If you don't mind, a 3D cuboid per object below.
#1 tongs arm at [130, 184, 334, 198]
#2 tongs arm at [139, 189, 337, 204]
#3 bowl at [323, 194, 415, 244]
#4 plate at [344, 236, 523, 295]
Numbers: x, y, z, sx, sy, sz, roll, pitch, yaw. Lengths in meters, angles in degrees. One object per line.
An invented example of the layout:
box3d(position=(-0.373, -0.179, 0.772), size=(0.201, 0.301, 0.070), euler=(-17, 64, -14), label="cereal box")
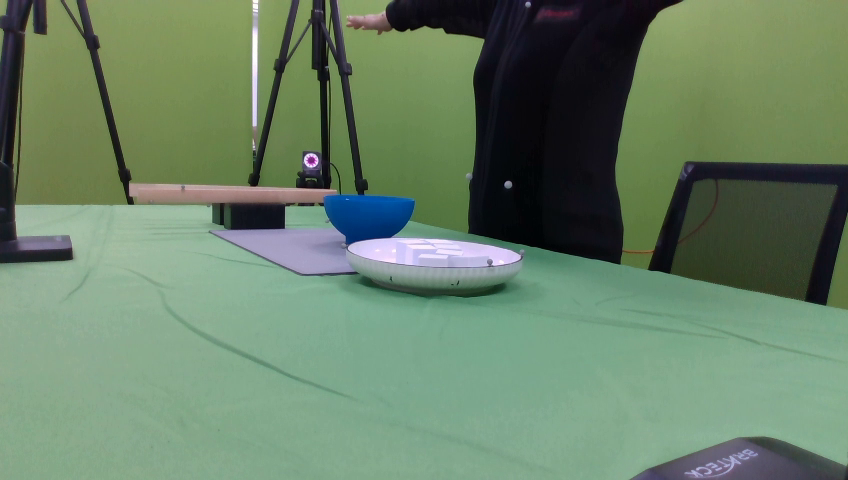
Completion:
box3d(position=(-0.373, -0.094, 1.212), size=(0.389, 0.028, 0.028), euler=(-1, 3, -22), label="tongs arm")
box3d(position=(-0.333, -0.083, 1.145), size=(0.387, 0.026, 0.050), euler=(-3, 8, -34), label="tongs arm")
box3d(position=(-0.091, -0.032, 0.987), size=(0.151, 0.077, 0.151), euler=(3, 7, 0), label="bowl")
box3d(position=(0.010, 0.030, 0.707), size=(0.208, 0.039, 0.207), euler=(3, 8, 0), label="plate")
